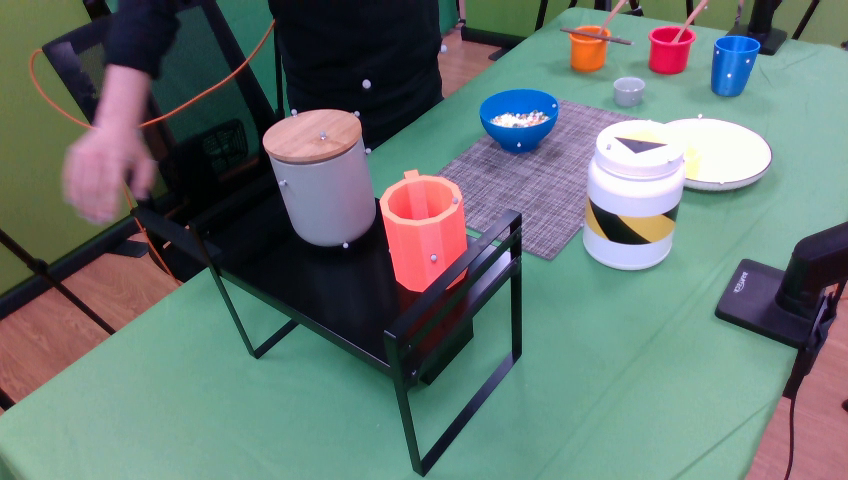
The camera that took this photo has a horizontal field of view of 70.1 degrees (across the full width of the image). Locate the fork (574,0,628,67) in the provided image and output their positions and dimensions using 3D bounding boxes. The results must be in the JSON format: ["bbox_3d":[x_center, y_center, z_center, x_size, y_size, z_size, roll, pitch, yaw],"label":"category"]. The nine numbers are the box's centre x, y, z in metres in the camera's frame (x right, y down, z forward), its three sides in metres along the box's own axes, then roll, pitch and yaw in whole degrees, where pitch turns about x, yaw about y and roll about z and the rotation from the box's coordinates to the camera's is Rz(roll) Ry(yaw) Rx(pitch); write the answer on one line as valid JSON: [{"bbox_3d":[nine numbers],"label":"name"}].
[{"bbox_3d":[0.413,-0.481,1.377,0.207,0.019,0.028,-56,42,12],"label":"fork"}]

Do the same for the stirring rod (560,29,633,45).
[{"bbox_3d":[0.381,-0.452,1.345,0.174,0.006,0.014,25,49,33],"label":"stirring rod"}]

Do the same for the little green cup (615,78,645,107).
[{"bbox_3d":[0.426,-0.306,1.257,0.061,0.039,0.061,-5,40,4],"label":"little green cup"}]

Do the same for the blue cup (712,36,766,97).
[{"bbox_3d":[0.627,-0.350,1.227,0.092,0.100,0.092,-4,39,4],"label":"blue cup"}]

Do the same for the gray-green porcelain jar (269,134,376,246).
[{"bbox_3d":[-0.115,-0.064,0.715,0.106,0.127,0.105,-4,40,4],"label":"gray-green porcelain jar"}]

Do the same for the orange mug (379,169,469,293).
[{"bbox_3d":[-0.002,-0.019,0.665,0.083,0.101,0.125,-12,45,-4],"label":"orange mug"}]

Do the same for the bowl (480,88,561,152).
[{"bbox_3d":[0.185,-0.222,1.160,0.151,0.077,0.150,-4,40,4],"label":"bowl"}]

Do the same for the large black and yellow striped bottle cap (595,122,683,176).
[{"bbox_3d":[0.293,-0.126,0.826,0.115,0.019,0.114,-3,40,3],"label":"large black and yellow striped bottle cap"}]

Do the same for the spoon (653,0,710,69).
[{"bbox_3d":[0.573,-0.459,1.332,0.041,0.022,0.193,43,105,41],"label":"spoon"}]

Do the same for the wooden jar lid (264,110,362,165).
[{"bbox_3d":[-0.122,-0.112,0.673,0.108,0.021,0.108,-4,37,4],"label":"wooden jar lid"}]

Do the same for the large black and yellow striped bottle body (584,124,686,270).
[{"bbox_3d":[0.304,-0.063,0.880,0.131,0.185,0.130,-5,41,5],"label":"large black and yellow striped bottle body"}]

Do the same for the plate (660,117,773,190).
[{"bbox_3d":[0.495,-0.148,1.063,0.209,0.038,0.208,-5,40,4],"label":"plate"}]
